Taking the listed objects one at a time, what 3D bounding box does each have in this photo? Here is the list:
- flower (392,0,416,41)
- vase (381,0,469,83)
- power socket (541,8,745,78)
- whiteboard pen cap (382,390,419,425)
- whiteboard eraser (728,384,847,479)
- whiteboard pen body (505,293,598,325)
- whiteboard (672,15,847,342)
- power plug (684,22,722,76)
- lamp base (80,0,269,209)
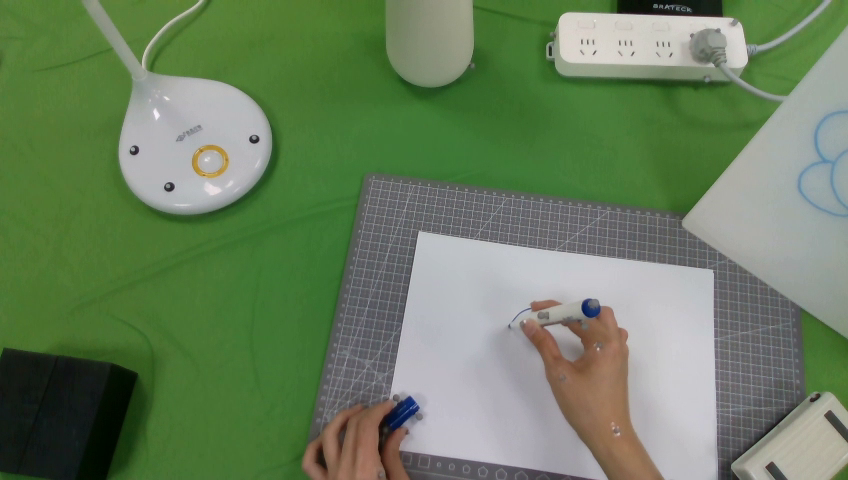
[{"bbox_3d":[0.017,-0.269,0.530,0.044,0.361,0.038,-35,90,-21],"label":"flower"},{"bbox_3d":[-0.001,-0.250,0.610,0.098,0.201,0.097,-1,68,2],"label":"vase"},{"bbox_3d":[0.249,-0.224,0.688,0.227,0.033,0.071,3,70,1],"label":"power socket"},{"bbox_3d":[-0.021,0.153,0.554,0.033,0.018,0.018,-37,73,-18],"label":"whiteboard pen cap"},{"bbox_3d":[0.323,0.180,0.529,0.112,0.042,0.055,-34,72,-11],"label":"whiteboard eraser"},{"bbox_3d":[0.104,0.062,0.525,0.017,0.140,0.017,5,76,-19],"label":"whiteboard pen body"},{"bbox_3d":[0.413,-0.083,0.522,0.216,0.307,0.143,38,53,14],"label":"whiteboard"},{"bbox_3d":[0.298,-0.202,0.656,0.035,0.053,0.072,12,76,5],"label":"power plug"},{"bbox_3d":[-0.258,-0.141,0.581,0.178,0.181,0.160,40,74,17],"label":"lamp base"}]
